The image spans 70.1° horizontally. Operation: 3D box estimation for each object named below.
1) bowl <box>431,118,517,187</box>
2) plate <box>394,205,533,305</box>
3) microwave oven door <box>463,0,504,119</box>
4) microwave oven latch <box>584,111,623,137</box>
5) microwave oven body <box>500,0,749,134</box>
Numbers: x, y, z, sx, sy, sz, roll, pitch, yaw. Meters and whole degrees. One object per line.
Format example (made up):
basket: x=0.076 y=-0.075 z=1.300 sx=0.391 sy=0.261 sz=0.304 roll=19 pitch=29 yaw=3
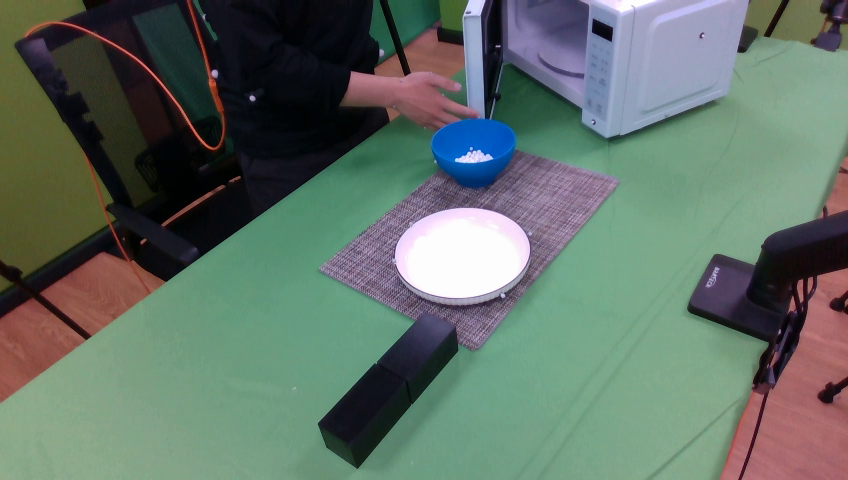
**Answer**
bowl: x=0.090 y=-0.147 z=1.080 sx=0.151 sy=0.077 sz=0.150 roll=-4 pitch=41 yaw=4
plate: x=0.059 y=0.025 z=0.915 sx=0.207 sy=0.039 sz=0.206 roll=-4 pitch=41 yaw=4
microwave oven door: x=0.125 y=-0.403 z=1.226 sx=0.039 sy=0.245 sz=0.355 roll=3 pitch=42 yaw=12
microwave oven latch: x=0.337 y=-0.222 z=1.142 sx=0.030 sy=0.029 sz=0.078 roll=-21 pitch=42 yaw=-14
microwave oven body: x=0.382 y=-0.444 z=1.246 sx=0.327 sy=0.261 sz=0.437 roll=-22 pitch=42 yaw=-16
